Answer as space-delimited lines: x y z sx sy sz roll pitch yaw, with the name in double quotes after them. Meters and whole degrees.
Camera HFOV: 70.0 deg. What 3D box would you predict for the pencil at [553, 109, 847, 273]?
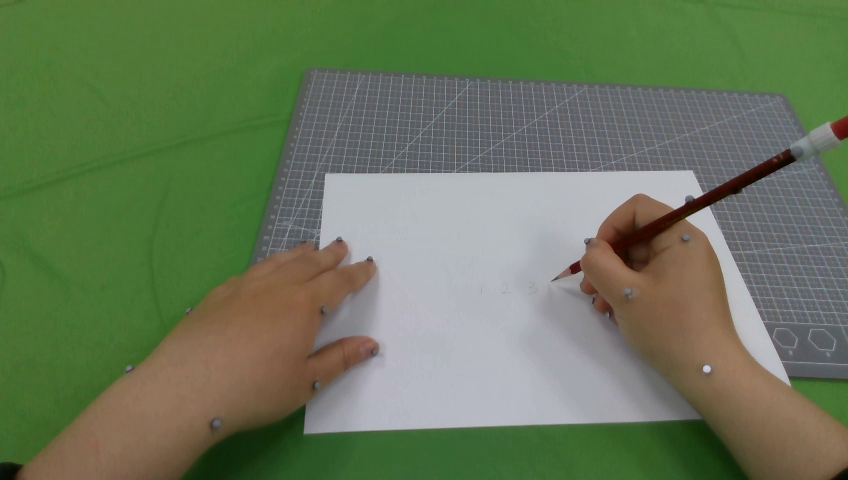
0.143 -0.018 0.345 0.012 0.194 0.012 19 55 -29 "pencil"
